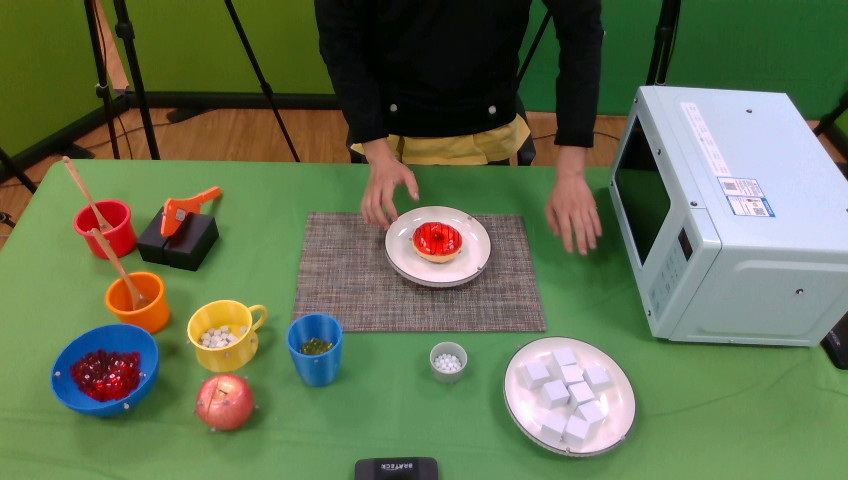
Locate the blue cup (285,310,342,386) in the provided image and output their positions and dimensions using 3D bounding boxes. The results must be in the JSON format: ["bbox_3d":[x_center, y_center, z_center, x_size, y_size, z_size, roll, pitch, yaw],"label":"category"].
[{"bbox_3d":[-0.170,0.179,0.958,0.093,0.101,0.092,1,44,-1],"label":"blue cup"}]

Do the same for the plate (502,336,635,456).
[{"bbox_3d":[0.225,0.248,0.963,0.208,0.039,0.206,2,46,-2],"label":"plate"}]

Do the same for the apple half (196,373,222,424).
[{"bbox_3d":[-0.322,0.239,0.907,0.033,0.081,0.081,7,46,-1],"label":"apple half"}]

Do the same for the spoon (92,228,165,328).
[{"bbox_3d":[-0.495,0.063,1.014,0.041,0.194,0.021,-34,12,-31],"label":"spoon"}]

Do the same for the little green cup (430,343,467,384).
[{"bbox_3d":[0.039,0.203,0.994,0.061,0.039,0.061,2,46,-2],"label":"little green cup"}]

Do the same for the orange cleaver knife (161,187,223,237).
[{"bbox_3d":[-0.448,-0.058,1.180,0.012,0.077,0.211,13,17,6],"label":"orange cleaver knife"}]

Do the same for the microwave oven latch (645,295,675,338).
[{"bbox_3d":[0.412,0.134,1.061,0.030,0.029,0.078,3,45,0],"label":"microwave oven latch"}]

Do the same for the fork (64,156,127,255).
[{"bbox_3d":[-0.614,-0.064,1.130,0.028,0.018,0.207,-29,97,-16],"label":"fork"}]

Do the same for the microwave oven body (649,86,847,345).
[{"bbox_3d":[0.568,-0.053,1.118,0.326,0.261,0.439,2,45,-1],"label":"microwave oven body"}]

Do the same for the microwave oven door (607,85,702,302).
[{"bbox_3d":[0.423,-0.094,1.140,0.039,0.245,0.353,2,46,-1],"label":"microwave oven door"}]

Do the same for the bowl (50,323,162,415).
[{"bbox_3d":[-0.472,0.209,0.924,0.151,0.077,0.150,3,45,-2],"label":"bowl"}]

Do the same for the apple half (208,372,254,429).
[{"bbox_3d":[-0.283,0.244,0.908,0.053,0.075,0.080,7,42,-1],"label":"apple half"}]

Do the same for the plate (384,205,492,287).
[{"bbox_3d":[0.027,0.015,1.169,0.209,0.038,0.208,2,46,-2],"label":"plate"}]

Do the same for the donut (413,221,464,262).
[{"bbox_3d":[0.028,0.002,1.166,0.099,0.048,0.098,3,43,-2],"label":"donut"}]

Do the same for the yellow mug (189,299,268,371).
[{"bbox_3d":[-0.316,0.148,1.002,0.131,0.064,0.099,-32,56,-32],"label":"yellow mug"}]
